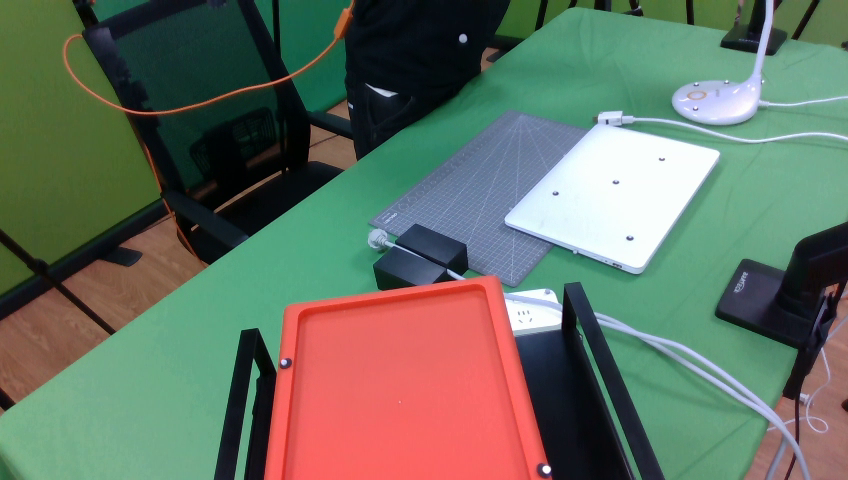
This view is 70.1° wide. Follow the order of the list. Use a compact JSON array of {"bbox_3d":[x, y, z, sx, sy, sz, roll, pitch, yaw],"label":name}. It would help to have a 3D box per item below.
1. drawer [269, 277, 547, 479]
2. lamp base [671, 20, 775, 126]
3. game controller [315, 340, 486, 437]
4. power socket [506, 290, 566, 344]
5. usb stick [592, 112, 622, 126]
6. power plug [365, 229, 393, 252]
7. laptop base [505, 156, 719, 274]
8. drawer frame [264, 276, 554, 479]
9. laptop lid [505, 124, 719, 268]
[{"bbox_3d":[-0.018,0.137,0.493,0.195,0.073,0.210,-7,41,-1],"label":"drawer"},{"bbox_3d":[0.581,-0.332,1.153,0.179,0.181,0.160,2,41,7],"label":"lamp base"},{"bbox_3d":[-0.021,0.120,0.534,0.155,0.052,0.096,-3,39,1],"label":"game controller"},{"bbox_3d":[0.081,0.112,0.822,0.227,0.033,0.072,-7,40,0],"label":"power socket"},{"bbox_3d":[0.361,-0.239,1.196,0.059,0.021,0.027,4,42,27],"label":"usb stick"},{"bbox_3d":[-0.068,0.010,0.954,0.035,0.053,0.072,-38,52,2],"label":"power plug"},{"bbox_3d":[0.326,-0.083,1.028,0.233,0.023,0.355,21,48,32],"label":"laptop base"},{"bbox_3d":[-0.016,0.137,0.490,0.202,0.083,0.212,-8,41,-2],"label":"drawer frame"},{"bbox_3d":[0.323,-0.093,1.021,0.240,0.013,0.358,23,49,32],"label":"laptop lid"}]
